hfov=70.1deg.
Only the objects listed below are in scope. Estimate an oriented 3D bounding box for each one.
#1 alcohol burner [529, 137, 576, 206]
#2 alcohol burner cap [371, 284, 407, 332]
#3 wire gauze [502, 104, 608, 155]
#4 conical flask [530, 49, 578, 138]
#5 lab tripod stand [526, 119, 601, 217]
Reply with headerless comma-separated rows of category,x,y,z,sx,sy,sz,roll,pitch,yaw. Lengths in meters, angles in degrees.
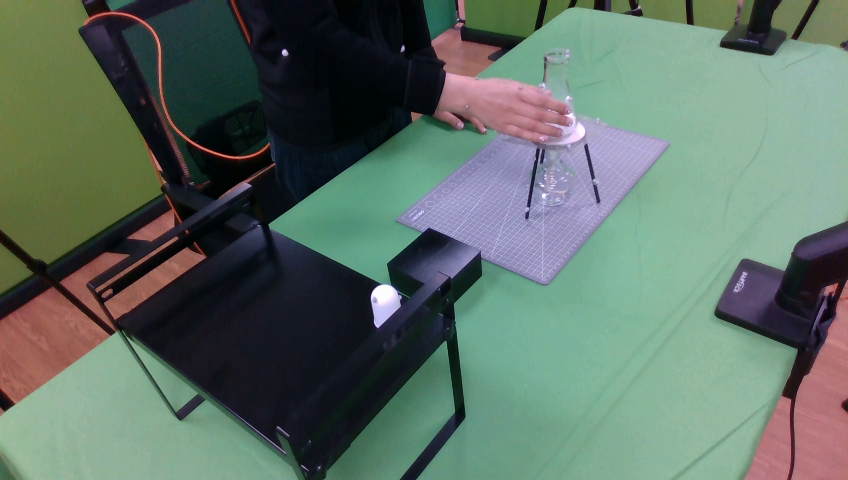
alcohol burner,0.214,-0.117,1.006,0.078,0.119,0.077,-4,38,4
alcohol burner cap,-0.037,0.066,0.608,0.034,0.048,0.033,-5,39,5
wire gauze,0.207,-0.173,0.953,0.120,0.011,0.125,23,48,31
conical flask,0.197,-0.222,0.910,0.075,0.122,0.075,-5,41,4
lab tripod stand,0.221,-0.121,0.995,0.148,0.132,0.147,-3,39,3
